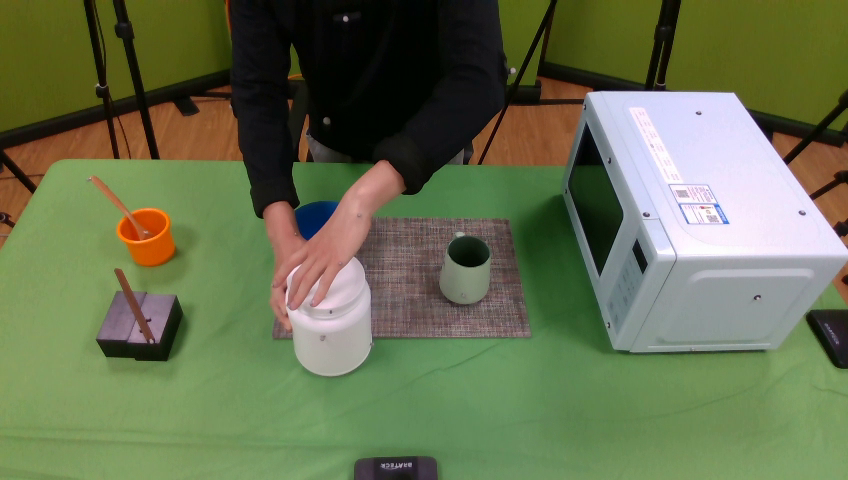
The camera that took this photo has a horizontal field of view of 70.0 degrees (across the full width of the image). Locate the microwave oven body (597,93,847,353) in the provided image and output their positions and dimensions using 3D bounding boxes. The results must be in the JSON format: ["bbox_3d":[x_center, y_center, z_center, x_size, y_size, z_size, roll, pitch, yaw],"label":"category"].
[{"bbox_3d":[0.475,-0.041,1.109,0.326,0.261,0.438,-1,45,-4],"label":"microwave oven body"}]

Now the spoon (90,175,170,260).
[{"bbox_3d":[-0.539,-0.042,1.111,0.021,0.194,0.041,-15,25,50],"label":"spoon"}]

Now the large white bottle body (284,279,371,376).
[{"bbox_3d":[-0.150,0.117,0.959,0.131,0.185,0.130,2,48,-2],"label":"large white bottle body"}]

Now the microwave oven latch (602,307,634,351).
[{"bbox_3d":[0.332,0.153,1.044,0.030,0.029,0.078,0,45,-4],"label":"microwave oven latch"}]

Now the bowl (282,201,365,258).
[{"bbox_3d":[-0.186,0.005,1.137,0.151,0.077,0.150,3,46,-3],"label":"bowl"}]

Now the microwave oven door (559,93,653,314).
[{"bbox_3d":[0.327,-0.074,1.123,0.039,0.245,0.353,-1,46,-5],"label":"microwave oven door"}]

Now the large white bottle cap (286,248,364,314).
[{"bbox_3d":[-0.145,0.058,0.895,0.115,0.018,0.114,3,48,-3],"label":"large white bottle cap"}]

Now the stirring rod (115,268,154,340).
[{"bbox_3d":[-0.479,0.102,0.999,0.014,0.006,0.175,8,32,-49],"label":"stirring rod"}]

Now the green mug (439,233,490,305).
[{"bbox_3d":[0.072,0.045,1.102,0.092,0.105,0.124,-6,46,-9],"label":"green mug"}]
